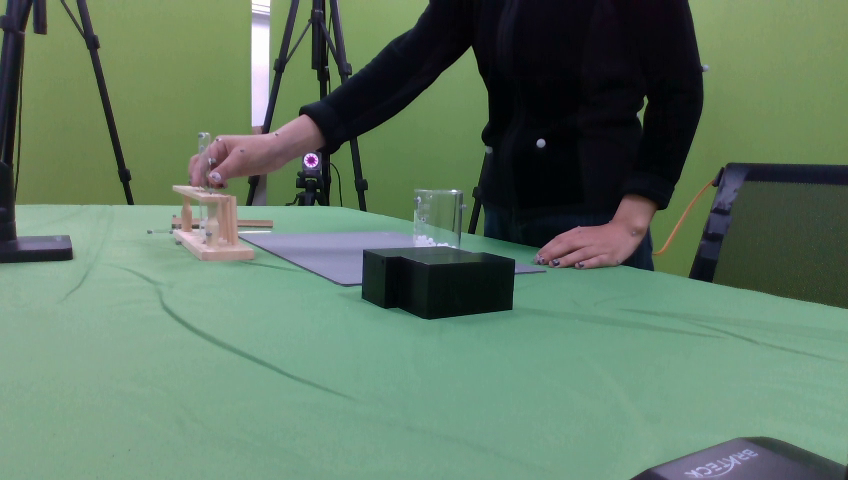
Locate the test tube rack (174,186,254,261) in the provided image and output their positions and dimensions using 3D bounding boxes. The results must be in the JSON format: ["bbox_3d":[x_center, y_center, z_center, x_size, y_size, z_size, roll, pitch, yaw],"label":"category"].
[{"bbox_3d":[-0.314,-0.031,0.889,0.067,0.085,0.241,-2,8,-30],"label":"test tube rack"}]

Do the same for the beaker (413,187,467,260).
[{"bbox_3d":[0.019,-0.026,0.878,0.074,0.100,0.083,-1,7,-27],"label":"beaker"}]

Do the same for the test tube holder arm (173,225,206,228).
[{"bbox_3d":[-0.414,-0.030,1.113,0.088,0.015,0.010,-1,-22,-25],"label":"test tube holder arm"}]

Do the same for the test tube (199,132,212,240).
[{"bbox_3d":[-0.304,-0.074,0.842,0.017,0.150,0.017,0,2,0],"label":"test tube"}]

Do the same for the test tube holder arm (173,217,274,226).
[{"bbox_3d":[-0.371,-0.033,1.127,0.179,0.015,0.013,-1,-22,-25],"label":"test tube holder arm"}]

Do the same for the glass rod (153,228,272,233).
[{"bbox_3d":[-0.369,-0.017,1.066,0.201,0.008,0.008,-2,8,-27],"label":"glass rod"}]
